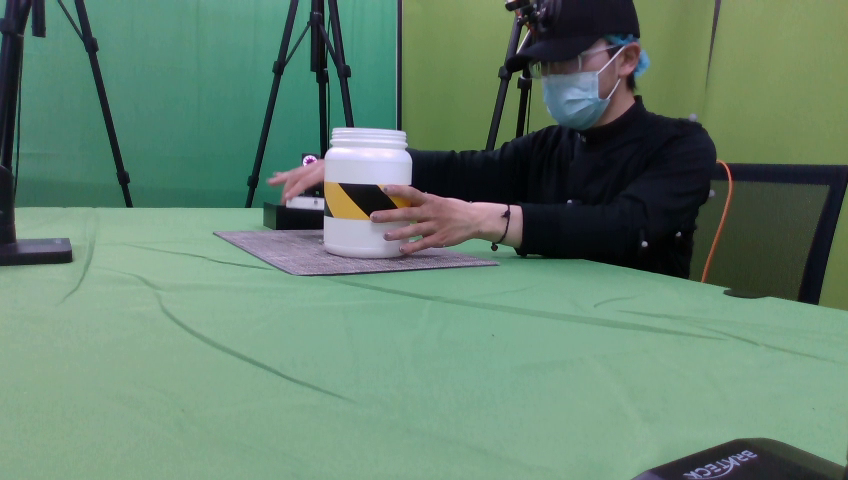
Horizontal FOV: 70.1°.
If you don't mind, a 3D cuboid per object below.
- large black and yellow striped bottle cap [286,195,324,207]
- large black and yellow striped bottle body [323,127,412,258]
[{"bbox_3d":[-0.185,-0.067,1.067,0.115,0.019,0.115,3,3,0],"label":"large black and yellow striped bottle cap"},{"bbox_3d":[-0.084,-0.073,0.899,0.131,0.184,0.130,2,8,0],"label":"large black and yellow striped bottle body"}]
